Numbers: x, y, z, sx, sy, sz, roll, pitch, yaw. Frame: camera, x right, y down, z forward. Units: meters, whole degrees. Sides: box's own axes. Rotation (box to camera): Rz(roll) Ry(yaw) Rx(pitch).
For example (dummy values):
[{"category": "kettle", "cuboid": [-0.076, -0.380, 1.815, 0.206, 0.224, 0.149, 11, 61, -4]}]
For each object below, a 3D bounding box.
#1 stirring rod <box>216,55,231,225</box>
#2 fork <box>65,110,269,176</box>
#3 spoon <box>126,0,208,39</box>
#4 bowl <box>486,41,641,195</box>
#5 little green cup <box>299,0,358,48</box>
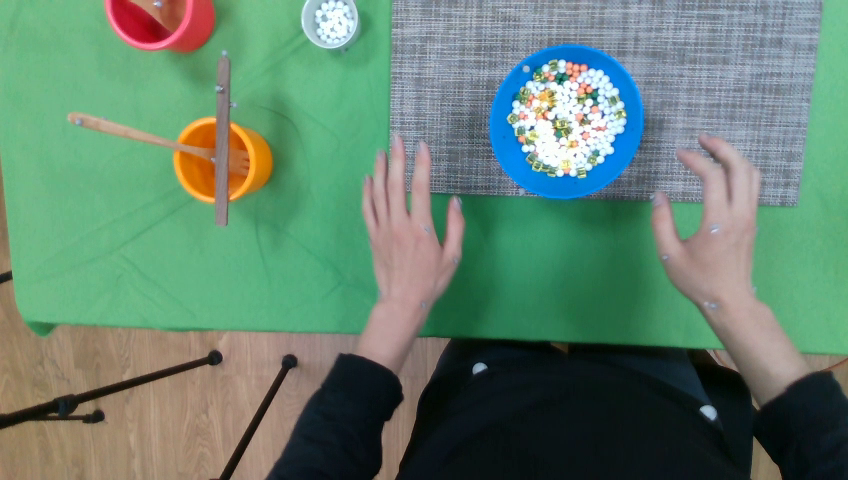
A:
[{"category": "stirring rod", "cuboid": [-0.212, -0.104, 0.641, 0.014, 0.006, 0.176, 4, 100, 7]}, {"category": "fork", "cuboid": [-0.266, -0.103, 0.649, 0.209, 0.018, 0.028, 12, 107, -40]}, {"category": "spoon", "cuboid": [-0.325, -0.260, 0.633, 0.195, 0.021, 0.041, 12, 101, -40]}, {"category": "bowl", "cuboid": [0.141, -0.125, 0.634, 0.151, 0.076, 0.151, 1, 100, 6]}, {"category": "little green cup", "cuboid": [-0.102, -0.241, 0.665, 0.061, 0.038, 0.062, 1, 100, 7]}]
